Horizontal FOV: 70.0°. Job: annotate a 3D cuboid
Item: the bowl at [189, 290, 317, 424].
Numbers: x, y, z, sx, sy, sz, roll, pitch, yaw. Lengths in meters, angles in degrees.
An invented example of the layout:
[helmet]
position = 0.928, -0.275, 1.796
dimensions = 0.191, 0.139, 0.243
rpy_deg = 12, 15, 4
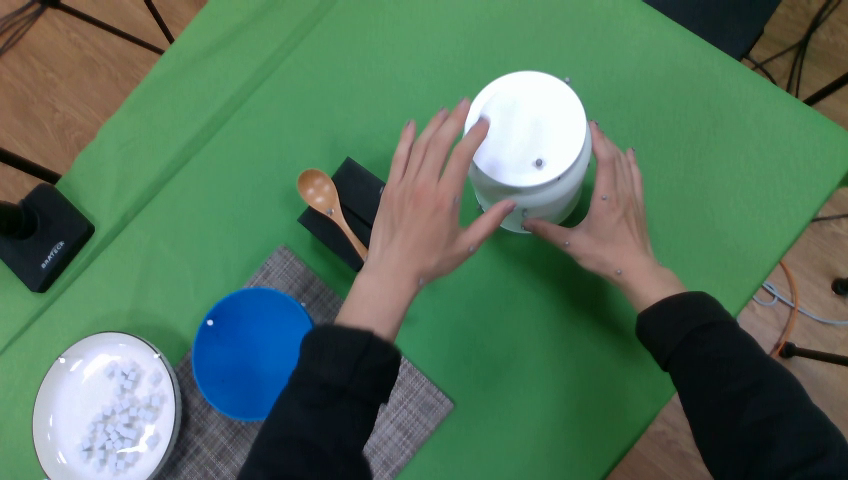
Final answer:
[bowl]
position = -0.190, 0.138, 0.722
dimensions = 0.151, 0.077, 0.151
rpy_deg = -2, 79, 10

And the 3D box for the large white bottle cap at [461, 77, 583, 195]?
[large white bottle cap]
position = 0.093, -0.099, 0.575
dimensions = 0.114, 0.018, 0.114
rpy_deg = -2, 78, 9

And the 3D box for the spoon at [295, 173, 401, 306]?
[spoon]
position = -0.089, 0.001, 0.715
dimensions = 0.041, 0.022, 0.193
rpy_deg = -36, 81, -4

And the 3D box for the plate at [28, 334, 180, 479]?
[plate]
position = -0.397, 0.224, 0.764
dimensions = 0.209, 0.038, 0.208
rpy_deg = -3, 77, 12

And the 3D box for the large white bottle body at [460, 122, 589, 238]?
[large white bottle body]
position = 0.109, -0.082, 0.657
dimensions = 0.130, 0.185, 0.130
rpy_deg = -2, 79, 10
